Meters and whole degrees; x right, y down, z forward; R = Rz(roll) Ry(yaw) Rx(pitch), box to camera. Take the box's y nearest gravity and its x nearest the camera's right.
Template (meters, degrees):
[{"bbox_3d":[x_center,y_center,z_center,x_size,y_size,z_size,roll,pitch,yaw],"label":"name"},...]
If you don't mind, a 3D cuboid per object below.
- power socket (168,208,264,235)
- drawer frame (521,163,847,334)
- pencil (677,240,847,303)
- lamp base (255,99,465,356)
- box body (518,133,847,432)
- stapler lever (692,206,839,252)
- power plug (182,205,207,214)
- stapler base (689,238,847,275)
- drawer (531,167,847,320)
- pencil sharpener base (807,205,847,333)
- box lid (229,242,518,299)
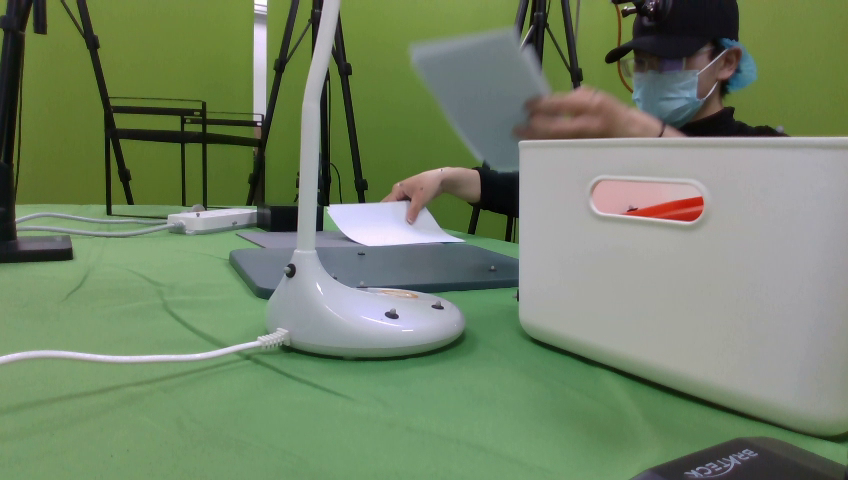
[{"bbox_3d":[-0.381,-0.038,1.129,0.072,0.032,0.227,4,8,17],"label":"power socket"},{"bbox_3d":[0.224,0.002,0.465,0.215,0.082,0.200,-14,2,-36],"label":"drawer frame"},{"bbox_3d":[0.248,0.018,0.464,0.012,0.012,0.193,1,10,-9],"label":"pencil"},{"bbox_3d":[-0.051,-0.014,0.466,0.160,0.180,0.180,7,11,34],"label":"lamp base"},{"bbox_3d":[0.278,0.005,0.485,0.366,0.160,0.253,-3,9,-36],"label":"box body"},{"bbox_3d":[0.266,-0.011,0.486,0.027,0.040,0.117,-15,2,-19],"label":"stapler lever"},{"bbox_3d":[-0.456,-0.041,1.195,0.052,0.035,0.072,0,39,24],"label":"power plug"},{"bbox_3d":[0.270,0.013,0.488,0.041,0.024,0.130,-15,3,-19],"label":"stapler base"},{"bbox_3d":[0.225,0.003,0.468,0.213,0.073,0.193,-14,2,-36],"label":"drawer"},{"bbox_3d":[0.385,0.026,0.519,0.062,0.107,0.076,-5,11,-43],"label":"pencil sharpener base"},{"bbox_3d":[-0.041,0.033,0.765,0.373,0.015,0.262,-2,9,-25],"label":"box lid"}]
